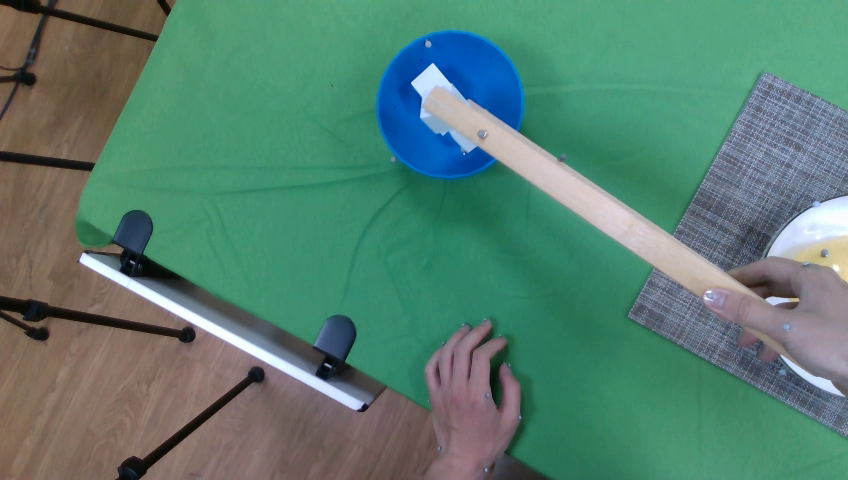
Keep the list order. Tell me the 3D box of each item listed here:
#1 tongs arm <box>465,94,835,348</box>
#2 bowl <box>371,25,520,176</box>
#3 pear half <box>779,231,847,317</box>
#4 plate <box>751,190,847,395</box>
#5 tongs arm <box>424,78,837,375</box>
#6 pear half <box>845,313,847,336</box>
[{"bbox_3d":[0.165,-0.023,0.529,0.382,0.051,0.026,39,105,20],"label":"tongs arm"},{"bbox_3d":[0.025,-0.137,0.644,0.151,0.077,0.151,0,89,5],"label":"bowl"},{"bbox_3d":[0.417,0.023,0.606,0.076,0.056,0.110,39,88,1],"label":"pear half"},{"bbox_3d":[0.437,0.053,0.616,0.207,0.039,0.207,0,88,6],"label":"plate"},{"bbox_3d":[0.147,-0.024,0.493,0.385,0.028,0.028,39,101,19],"label":"tongs arm"},{"bbox_3d":[0.475,0.083,0.607,0.088,0.031,0.070,-29,90,10],"label":"pear half"}]
